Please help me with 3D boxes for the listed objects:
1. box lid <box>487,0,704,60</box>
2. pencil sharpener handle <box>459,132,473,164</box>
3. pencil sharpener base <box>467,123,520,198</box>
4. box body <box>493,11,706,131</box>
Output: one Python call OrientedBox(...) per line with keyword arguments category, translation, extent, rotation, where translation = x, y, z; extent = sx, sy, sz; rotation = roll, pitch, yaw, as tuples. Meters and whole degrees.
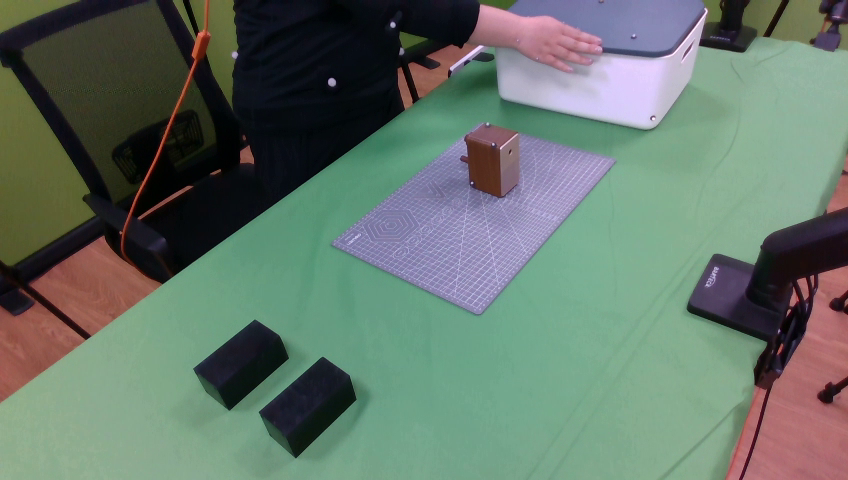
OrientedBox(category="box lid", translation=(0.340, -0.435, 1.203), extent=(0.369, 0.015, 0.264), rotation=(18, 48, 29))
OrientedBox(category="pencil sharpener handle", translation=(0.077, -0.163, 1.062), extent=(0.030, 0.068, 0.036), rotation=(23, 43, 32))
OrientedBox(category="pencil sharpener base", translation=(0.119, -0.138, 1.044), extent=(0.076, 0.107, 0.061), rotation=(23, 49, 32))
OrientedBox(category="box body", translation=(0.354, -0.377, 1.254), extent=(0.361, 0.161, 0.254), rotation=(20, 48, 28))
